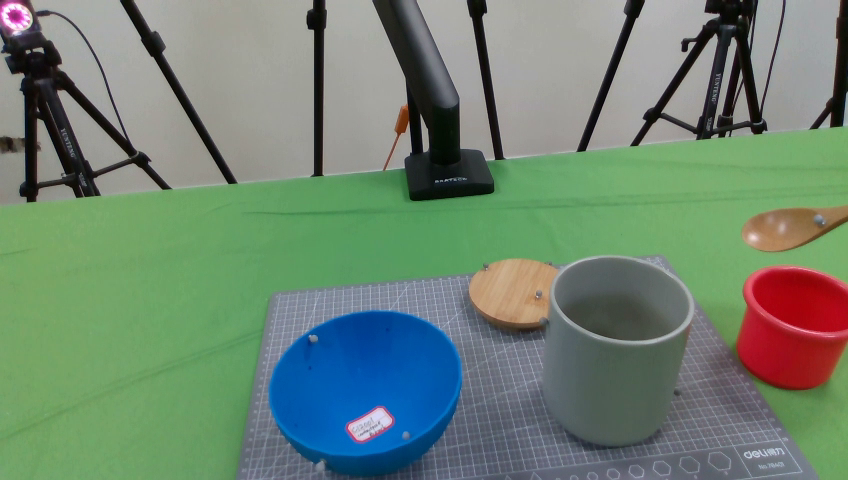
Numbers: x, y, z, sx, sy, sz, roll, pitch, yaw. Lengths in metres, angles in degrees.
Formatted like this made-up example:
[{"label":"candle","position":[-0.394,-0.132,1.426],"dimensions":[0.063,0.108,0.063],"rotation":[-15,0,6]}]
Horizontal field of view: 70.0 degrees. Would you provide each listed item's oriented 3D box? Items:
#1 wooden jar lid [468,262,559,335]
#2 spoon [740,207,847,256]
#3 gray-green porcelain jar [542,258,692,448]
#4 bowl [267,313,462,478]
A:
[{"label":"wooden jar lid","position":[0.101,0.062,0.640],"dimensions":[0.108,0.021,0.107],"rotation":[-3,33,2]},{"label":"spoon","position":[0.298,-0.020,0.388],"dimensions":[0.193,0.022,0.041],"rotation":[-24,33,58]},{"label":"gray-green porcelain jar","position":[0.150,0.095,0.491],"dimensions":[0.106,0.127,0.105],"rotation":[-2,35,2]},{"label":"bowl","position":[-0.044,0.137,0.491],"dimensions":[0.151,0.077,0.150],"rotation":[-2,35,2]}]
